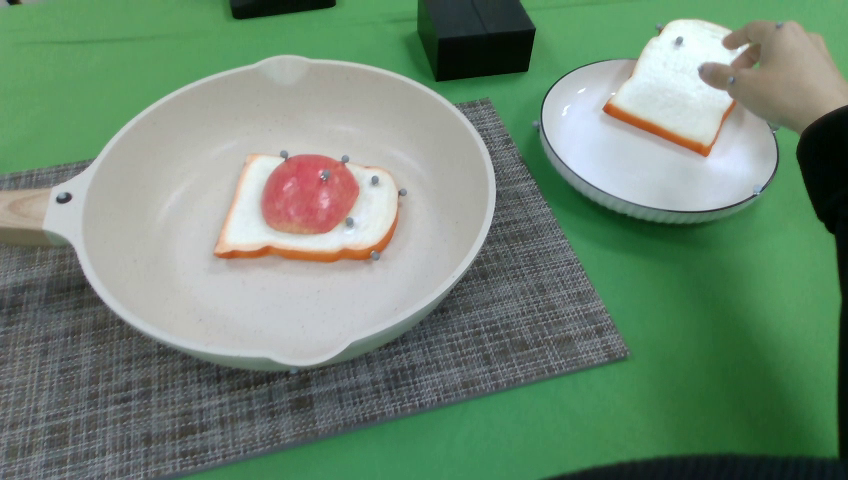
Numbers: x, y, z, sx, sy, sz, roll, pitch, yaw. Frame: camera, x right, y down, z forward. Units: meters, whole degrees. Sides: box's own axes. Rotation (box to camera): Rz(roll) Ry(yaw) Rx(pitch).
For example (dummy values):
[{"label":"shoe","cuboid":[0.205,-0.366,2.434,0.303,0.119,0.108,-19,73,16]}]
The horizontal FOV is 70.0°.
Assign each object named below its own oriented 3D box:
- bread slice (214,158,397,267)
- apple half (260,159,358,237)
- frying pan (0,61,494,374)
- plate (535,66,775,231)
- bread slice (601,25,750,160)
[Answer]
[{"label":"bread slice","cuboid":[-0.089,-0.023,0.488,0.134,0.018,0.106,1,51,-1]},{"label":"apple half","cuboid":[-0.092,-0.039,0.471,0.081,0.033,0.080,0,48,1]},{"label":"frying pan","cuboid":[-0.197,-0.020,0.431,0.489,0.103,0.303,-2,49,-14]},{"label":"plate","cuboid":[0.203,-0.083,0.549,0.208,0.039,0.205,1,50,-1]},{"label":"bread slice","cuboid":[0.246,-0.150,0.579,0.104,0.019,0.131,29,75,18]}]
